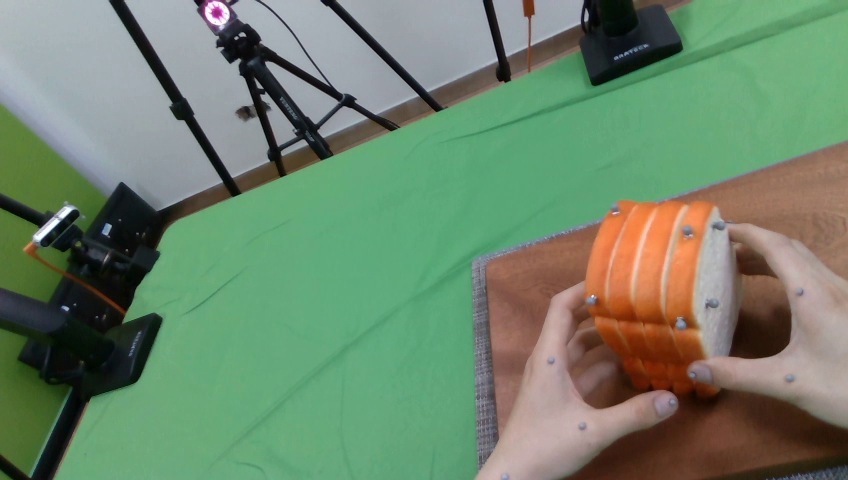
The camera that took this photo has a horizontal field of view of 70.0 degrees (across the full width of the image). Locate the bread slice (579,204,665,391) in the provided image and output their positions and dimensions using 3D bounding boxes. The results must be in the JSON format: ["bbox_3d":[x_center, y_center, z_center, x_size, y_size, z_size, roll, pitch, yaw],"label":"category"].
[{"bbox_3d":[0.158,0.038,0.464,0.018,0.136,0.106,3,53,41],"label":"bread slice"}]

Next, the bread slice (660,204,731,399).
[{"bbox_3d":[0.195,0.041,0.429,0.019,0.133,0.104,2,57,37],"label":"bread slice"}]
